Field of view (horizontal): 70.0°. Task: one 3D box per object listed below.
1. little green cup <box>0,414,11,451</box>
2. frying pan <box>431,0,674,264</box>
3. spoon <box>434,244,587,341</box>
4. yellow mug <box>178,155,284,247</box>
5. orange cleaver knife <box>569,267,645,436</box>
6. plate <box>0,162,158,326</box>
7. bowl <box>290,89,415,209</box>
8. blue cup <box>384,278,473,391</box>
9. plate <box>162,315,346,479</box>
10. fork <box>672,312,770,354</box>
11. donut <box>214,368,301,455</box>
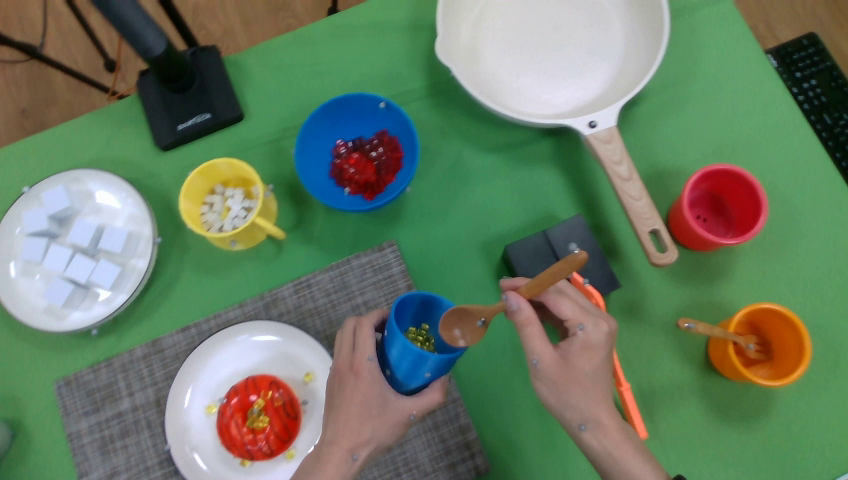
[{"bbox_3d":[-0.523,0.230,0.710,0.061,0.039,0.061,0,78,0],"label":"little green cup"},{"bbox_3d":[0.188,-0.188,0.756,0.307,0.103,0.484,-18,69,-2],"label":"frying pan"},{"bbox_3d":[0.067,0.049,0.507,0.041,0.194,0.021,48,52,-3],"label":"spoon"},{"bbox_3d":[-0.231,-0.040,0.753,0.130,0.064,0.099,29,79,7],"label":"yellow mug"},{"bbox_3d":[0.207,0.126,0.693,0.012,0.076,0.212,-24,106,-4],"label":"orange cleaver knife"},{"bbox_3d":[-0.433,0.006,0.762,0.207,0.039,0.206,0,77,2],"label":"plate"},{"bbox_3d":[-0.084,-0.102,0.757,0.151,0.077,0.150,0,77,2],"label":"bowl"},{"bbox_3d":[0.005,0.102,0.606,0.092,0.101,0.091,0,49,0],"label":"blue cup"},{"bbox_3d":[-0.194,0.192,0.707,0.209,0.038,0.208,0,77,2],"label":"plate"},{"bbox_3d":[0.329,0.101,0.661,0.209,0.018,0.028,18,72,-39],"label":"fork"},{"bbox_3d":[-0.190,0.197,0.695,0.099,0.048,0.098,0,80,1],"label":"donut"}]
